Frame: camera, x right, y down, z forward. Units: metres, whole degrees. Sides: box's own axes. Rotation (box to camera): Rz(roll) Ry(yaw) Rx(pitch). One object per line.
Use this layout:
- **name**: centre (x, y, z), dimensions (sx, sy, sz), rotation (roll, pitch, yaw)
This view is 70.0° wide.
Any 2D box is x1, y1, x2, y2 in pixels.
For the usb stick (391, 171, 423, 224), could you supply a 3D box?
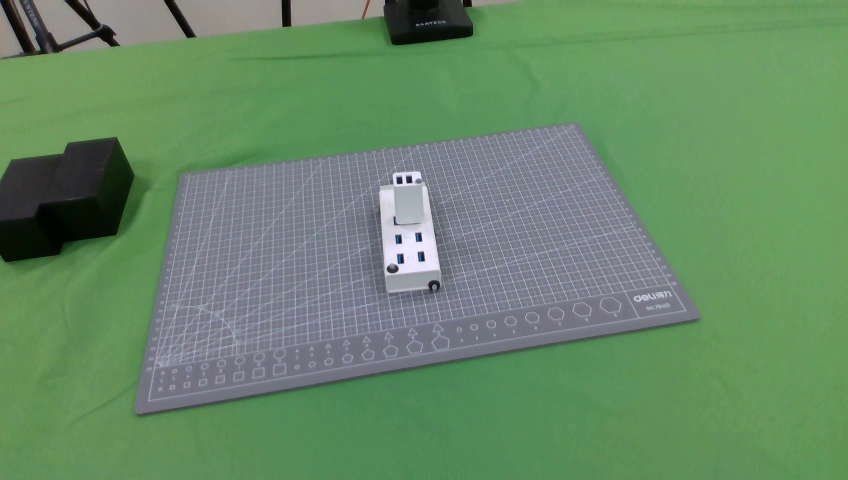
- **usb stick**: centre (-0.014, -0.033, 0.549), dimensions (0.027, 0.060, 0.021), rotation (-9, 44, -2)

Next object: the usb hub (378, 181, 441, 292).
- **usb hub**: centre (-0.016, -0.006, 0.563), dimensions (0.049, 0.025, 0.124), rotation (-6, 44, -2)
